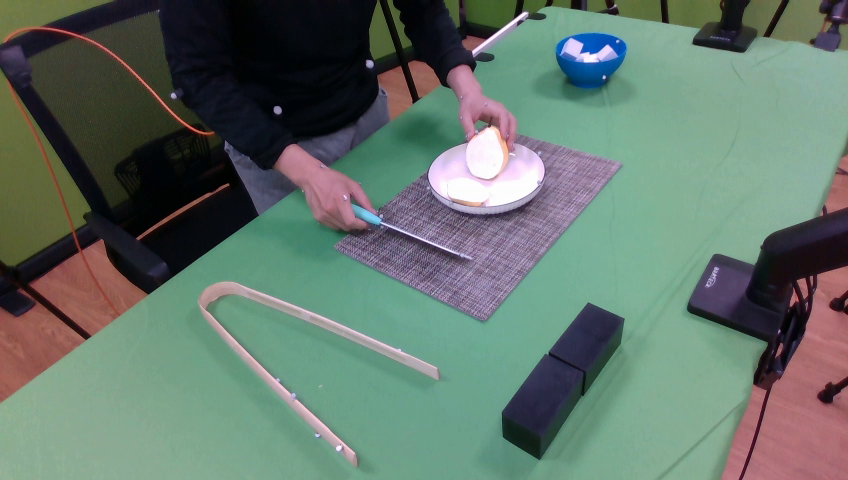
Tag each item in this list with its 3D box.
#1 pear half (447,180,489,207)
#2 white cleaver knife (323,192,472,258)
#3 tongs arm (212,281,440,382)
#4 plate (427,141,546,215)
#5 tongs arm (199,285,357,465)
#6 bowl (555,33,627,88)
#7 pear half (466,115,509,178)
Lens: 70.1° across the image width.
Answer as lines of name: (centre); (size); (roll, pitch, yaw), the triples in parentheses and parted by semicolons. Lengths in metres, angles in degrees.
pear half: (0.069, -0.072, 1.016); (0.070, 0.031, 0.088); (29, 34, 33)
white cleaver knife: (-0.050, -0.020, 0.973); (0.284, 0.066, 0.021); (24, 91, 28)
tongs arm: (-0.148, 0.121, 0.846); (0.385, 0.028, 0.028); (17, 48, 25)
plate: (0.109, -0.106, 1.059); (0.207, 0.039, 0.206); (-4, 40, 4)
tongs arm: (-0.199, 0.162, 0.797); (0.381, 0.026, 0.051); (28, 50, 35)
bowl: (0.360, -0.384, 1.317); (0.151, 0.077, 0.150); (-4, 41, 4)
pear half: (0.116, -0.169, 1.061); (0.076, 0.110, 0.056); (18, 34, 14)
